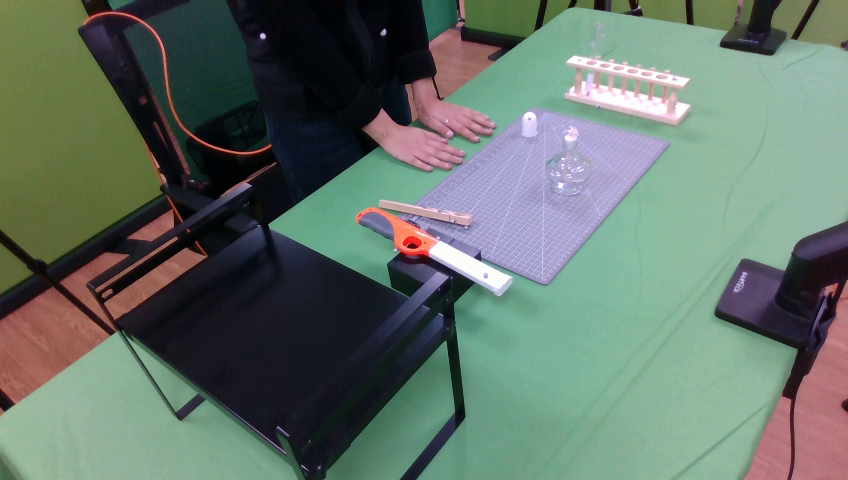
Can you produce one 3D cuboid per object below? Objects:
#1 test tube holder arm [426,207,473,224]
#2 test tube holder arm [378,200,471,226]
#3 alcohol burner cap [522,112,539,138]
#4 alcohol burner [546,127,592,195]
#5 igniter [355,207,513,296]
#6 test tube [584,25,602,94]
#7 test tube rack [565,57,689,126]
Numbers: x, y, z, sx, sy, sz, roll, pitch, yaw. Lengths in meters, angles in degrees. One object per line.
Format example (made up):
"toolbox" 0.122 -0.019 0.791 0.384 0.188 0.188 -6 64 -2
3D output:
"test tube holder arm" 0.041 -0.041 1.016 0.087 0.015 0.010 12 21 26
"test tube holder arm" -0.002 -0.048 1.031 0.177 0.015 0.013 12 21 25
"alcohol burner cap" 0.210 -0.230 1.195 0.034 0.048 0.033 -5 42 5
"alcohol burner" 0.246 -0.137 1.024 0.078 0.119 0.077 -4 38 4
"igniter" 0.006 0.010 0.885 0.274 0.025 0.057 27 53 30
"test tube" 0.341 -0.362 1.224 0.017 0.151 0.017 -2 45 2
"test tube rack" 0.412 -0.311 1.230 0.240 0.085 0.067 23 49 32
